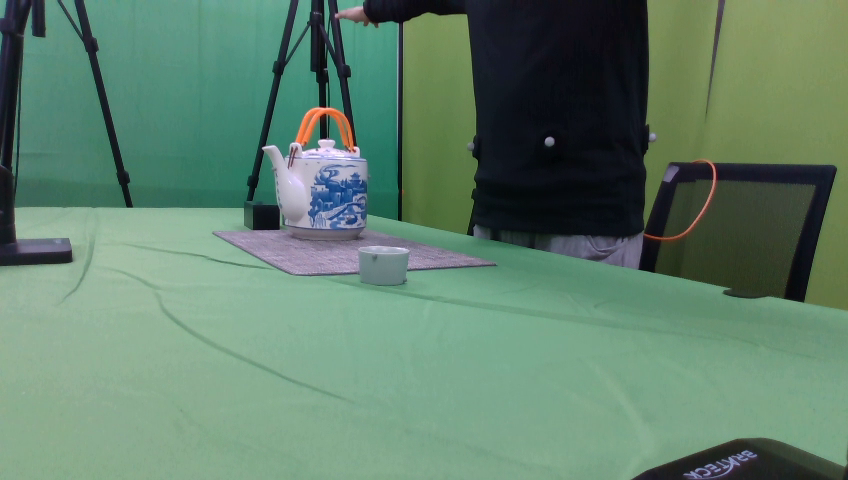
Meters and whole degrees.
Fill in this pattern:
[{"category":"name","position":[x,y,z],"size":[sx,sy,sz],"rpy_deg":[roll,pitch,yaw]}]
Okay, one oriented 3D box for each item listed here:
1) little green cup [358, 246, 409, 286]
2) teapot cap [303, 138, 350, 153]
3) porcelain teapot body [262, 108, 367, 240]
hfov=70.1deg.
[{"category":"little green cup","position":[-0.048,0.030,0.707],"size":[0.061,0.038,0.061],"rpy_deg":[2,8,0]},{"category":"teapot cap","position":[-0.172,-0.157,1.060],"size":[0.085,0.044,0.085],"rpy_deg":[-1,7,0]},{"category":"porcelain teapot body","position":[-0.190,-0.115,1.041],"size":[0.144,0.225,0.206],"rpy_deg":[8,10,36]}]
